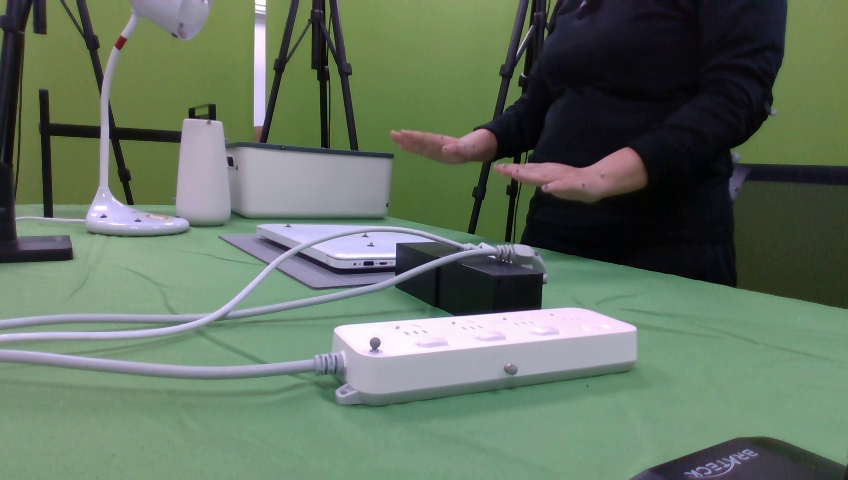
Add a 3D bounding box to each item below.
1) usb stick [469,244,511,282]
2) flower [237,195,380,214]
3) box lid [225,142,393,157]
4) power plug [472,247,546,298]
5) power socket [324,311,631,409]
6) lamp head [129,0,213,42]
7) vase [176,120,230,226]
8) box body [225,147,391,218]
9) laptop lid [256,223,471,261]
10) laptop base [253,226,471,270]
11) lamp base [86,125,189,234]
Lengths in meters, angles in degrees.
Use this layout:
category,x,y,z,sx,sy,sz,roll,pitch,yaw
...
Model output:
category,x,y,z,sx,sy,sz,roll,pitch,yaw
usb stick,0.080,0.029,0.674,0.059,0.021,0.027,28,27,-30
flower,-0.284,-0.080,1.481,0.361,0.038,0.044,5,34,7
box lid,-0.286,-0.217,1.464,0.373,0.015,0.262,-1,7,-28
power plug,0.081,0.030,0.584,0.072,0.052,0.035,11,28,8
power socket,0.042,0.075,0.410,0.228,0.032,0.072,-1,8,-25
lamp head,-0.423,-0.394,0.980,0.123,0.112,0.112,21,7,-3
vase,-0.424,-0.128,1.159,0.098,0.200,0.098,2,9,0
box body,-0.289,-0.143,1.475,0.366,0.160,0.253,-1,9,-29
laptop lid,-0.092,0.000,0.912,0.243,0.013,0.355,1,7,-30
laptop base,-0.095,0.011,0.912,0.237,0.023,0.352,2,6,-32
lamp base,-0.497,-0.105,1.027,0.179,0.180,0.160,1,7,3
